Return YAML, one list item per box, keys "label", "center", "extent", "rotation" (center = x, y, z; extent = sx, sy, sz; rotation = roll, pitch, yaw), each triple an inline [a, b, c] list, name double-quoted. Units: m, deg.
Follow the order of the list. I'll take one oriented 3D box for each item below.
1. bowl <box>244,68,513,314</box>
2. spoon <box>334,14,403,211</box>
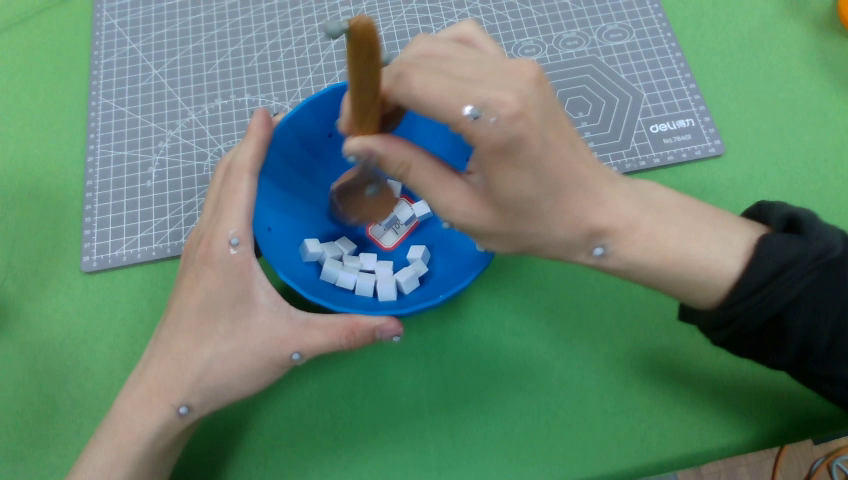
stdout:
- label: "bowl"
  center: [-0.024, -0.020, 0.374]
  extent: [0.151, 0.077, 0.150]
  rotation: [-1, 70, 2]
- label: "spoon"
  center: [-0.027, -0.047, 0.293]
  extent: [0.042, 0.194, 0.021]
  rotation: [1, 79, -5]
